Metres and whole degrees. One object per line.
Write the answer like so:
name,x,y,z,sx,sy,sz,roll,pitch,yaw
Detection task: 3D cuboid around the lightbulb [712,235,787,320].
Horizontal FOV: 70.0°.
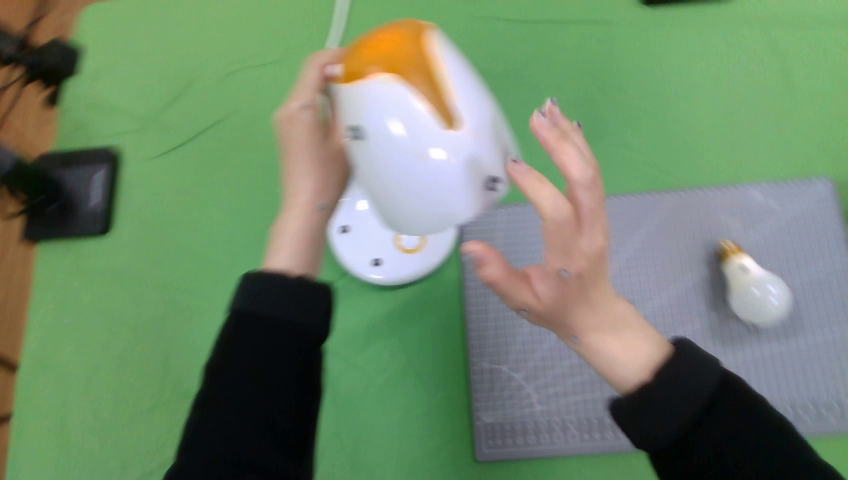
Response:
lightbulb,0.357,0.039,0.675,0.059,0.060,0.106,-19,57,-1

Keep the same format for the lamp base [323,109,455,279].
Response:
lamp base,-0.058,-0.060,0.673,0.178,0.181,0.160,41,80,17

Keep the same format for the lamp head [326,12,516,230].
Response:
lamp head,-0.012,-0.086,0.404,0.112,0.124,0.111,-22,35,17
